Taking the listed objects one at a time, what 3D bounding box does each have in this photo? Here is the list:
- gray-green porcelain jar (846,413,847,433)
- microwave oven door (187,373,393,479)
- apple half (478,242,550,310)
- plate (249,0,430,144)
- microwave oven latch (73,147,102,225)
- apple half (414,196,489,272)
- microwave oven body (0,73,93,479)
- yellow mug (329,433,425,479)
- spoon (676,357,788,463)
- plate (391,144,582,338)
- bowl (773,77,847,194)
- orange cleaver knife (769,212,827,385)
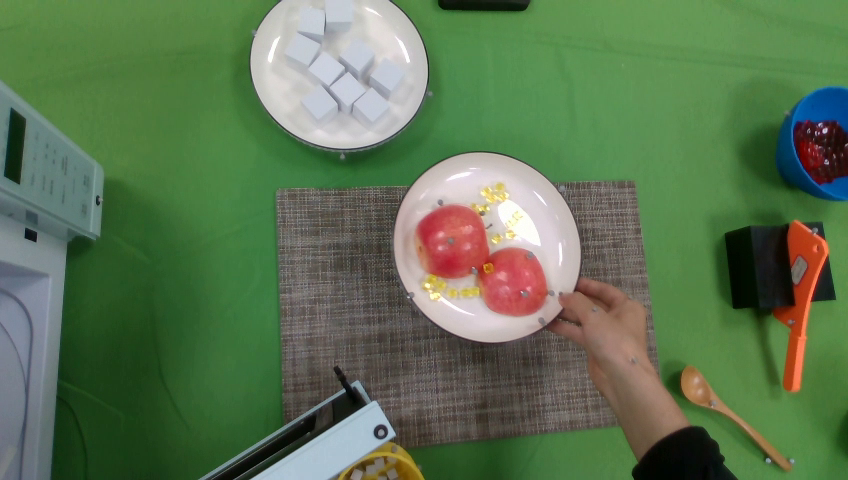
[{"bbox_3d":[0.593,0.231,0.726,0.106,0.126,0.105,2,80,-9],"label":"gray-green porcelain jar"},{"bbox_3d":[-0.195,0.229,0.515,0.356,0.244,0.039,-31,86,-13],"label":"microwave oven door"},{"bbox_3d":[0.098,0.037,0.643,0.081,0.033,0.081,2,75,-6],"label":"apple half"},{"bbox_3d":[-0.098,-0.211,0.721,0.208,0.039,0.207,2,81,-9],"label":"plate"},{"bbox_3d":[-0.357,-0.056,0.634,0.030,0.029,0.079,3,82,-10],"label":"microwave oven latch"},{"bbox_3d":[0.030,-0.008,0.627,0.075,0.053,0.080,-10,82,-11],"label":"apple half"},{"bbox_3d":[-0.485,0.102,0.490,0.327,0.260,0.440,1,82,-10],"label":"microwave oven body"},{"bbox_3d":[-0.053,0.276,0.640,0.100,0.064,0.130,9,83,-8],"label":"yellow mug"},{"bbox_3d":[0.380,0.213,0.745,0.194,0.022,0.041,40,60,-2],"label":"spoon"},{"bbox_3d":[0.065,0.001,0.648,0.210,0.038,0.208,2,79,-12],"label":"plate"},{"bbox_3d":[0.516,-0.126,0.791,0.152,0.077,0.151,1,82,-9],"label":"bowl"},{"bbox_3d":[0.453,0.074,0.748,0.012,0.076,0.212,-1,105,-6],"label":"orange cleaver knife"}]
